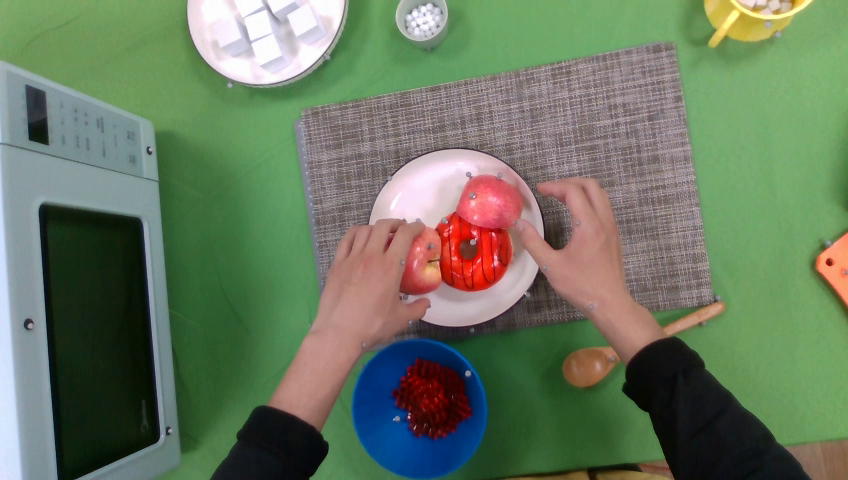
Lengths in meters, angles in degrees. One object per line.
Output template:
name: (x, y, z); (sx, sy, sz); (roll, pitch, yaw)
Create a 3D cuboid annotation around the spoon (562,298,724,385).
spoon: (0.245, 0.111, 0.678); (0.194, 0.022, 0.041); (-26, 69, 8)

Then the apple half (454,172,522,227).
apple half: (0.075, -0.051, 0.673); (0.081, 0.033, 0.080); (3, 49, -3)

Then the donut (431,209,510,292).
donut: (0.048, 0.011, 0.690); (0.099, 0.048, 0.099); (0, 88, 9)

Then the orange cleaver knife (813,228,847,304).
orange cleaver knife: (0.488, 0.085, 0.640); (0.077, 0.012, 0.210); (-24, 83, 3)

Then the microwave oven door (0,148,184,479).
microwave oven door: (-0.354, 0.097, 0.648); (0.039, 0.244, 0.355); (-7, 87, 10)

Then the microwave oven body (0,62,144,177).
microwave oven body: (-0.501, 0.072, 0.679); (0.325, 0.261, 0.441); (-7, 88, 9)

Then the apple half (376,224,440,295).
apple half: (-0.023, 0.023, 0.681); (0.074, 0.053, 0.081); (11, 102, 46)

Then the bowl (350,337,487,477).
bowl: (0.000, 0.181, 0.689); (0.151, 0.077, 0.151); (0, 88, 10)

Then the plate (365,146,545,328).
plate: (0.035, -0.004, 0.705); (0.209, 0.038, 0.209); (0, 88, 10)

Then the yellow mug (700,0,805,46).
yellow mug: (0.347, -0.264, 0.651); (0.099, 0.064, 0.131); (39, 95, 9)

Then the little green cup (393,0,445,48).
little green cup: (-0.003, -0.261, 0.723); (0.061, 0.039, 0.061); (0, 88, 10)

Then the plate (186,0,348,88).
plate: (-0.192, -0.289, 0.756); (0.207, 0.039, 0.207); (0, 88, 10)

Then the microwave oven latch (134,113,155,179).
microwave oven latch: (-0.358, -0.116, 0.759); (0.030, 0.029, 0.079); (-4, 88, 9)
